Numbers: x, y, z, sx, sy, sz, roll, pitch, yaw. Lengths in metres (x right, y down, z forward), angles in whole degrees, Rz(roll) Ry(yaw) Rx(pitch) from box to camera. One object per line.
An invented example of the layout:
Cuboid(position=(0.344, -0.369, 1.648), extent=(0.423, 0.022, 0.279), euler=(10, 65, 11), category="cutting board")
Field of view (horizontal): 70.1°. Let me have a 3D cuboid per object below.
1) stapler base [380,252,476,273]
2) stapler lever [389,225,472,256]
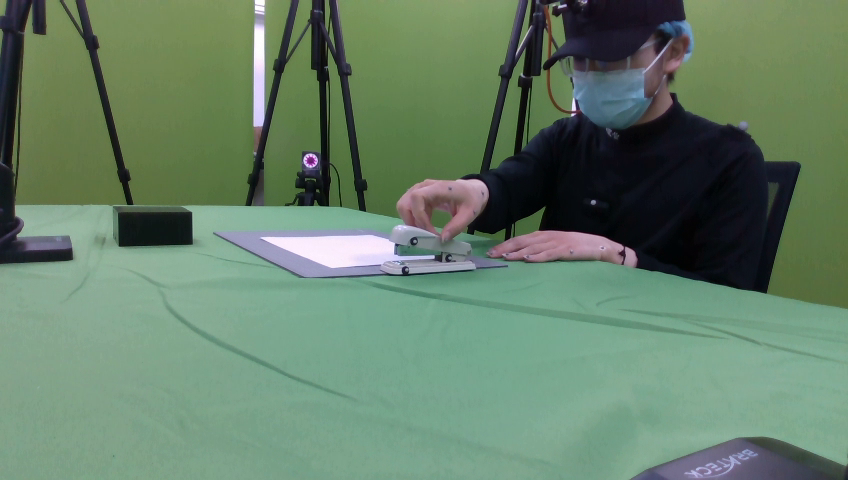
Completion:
Cuboid(position=(0.006, 0.026, 0.779), extent=(0.131, 0.024, 0.041), euler=(0, 11, -33), category="stapler base")
Cuboid(position=(0.009, 0.001, 0.777), extent=(0.119, 0.040, 0.026), euler=(0, 11, -33), category="stapler lever")
